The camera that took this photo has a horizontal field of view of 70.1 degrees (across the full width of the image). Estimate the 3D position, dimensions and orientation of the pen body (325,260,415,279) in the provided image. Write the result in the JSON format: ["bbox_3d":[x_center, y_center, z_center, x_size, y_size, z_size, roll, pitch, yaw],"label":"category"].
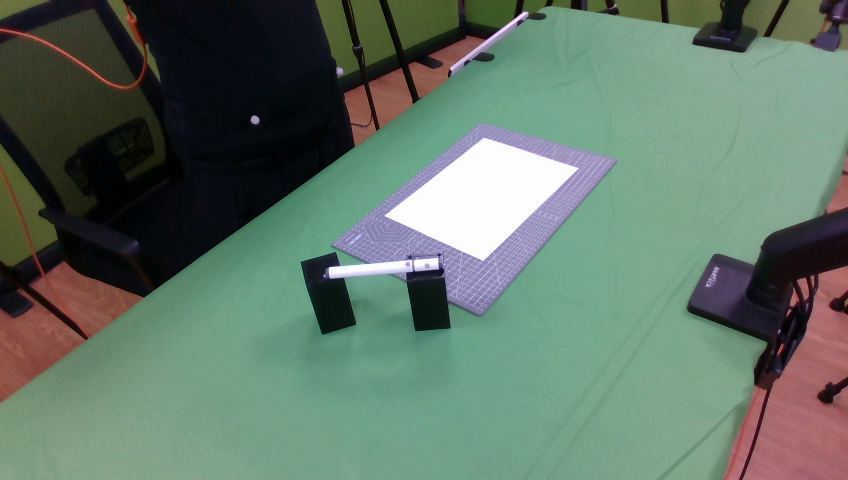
[{"bbox_3d":[-0.056,0.037,0.784,0.144,0.017,0.017,-5,40,4],"label":"pen body"}]

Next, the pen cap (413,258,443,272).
[{"bbox_3d":[0.005,0.031,0.781,0.038,0.017,0.017,-5,40,3],"label":"pen cap"}]
